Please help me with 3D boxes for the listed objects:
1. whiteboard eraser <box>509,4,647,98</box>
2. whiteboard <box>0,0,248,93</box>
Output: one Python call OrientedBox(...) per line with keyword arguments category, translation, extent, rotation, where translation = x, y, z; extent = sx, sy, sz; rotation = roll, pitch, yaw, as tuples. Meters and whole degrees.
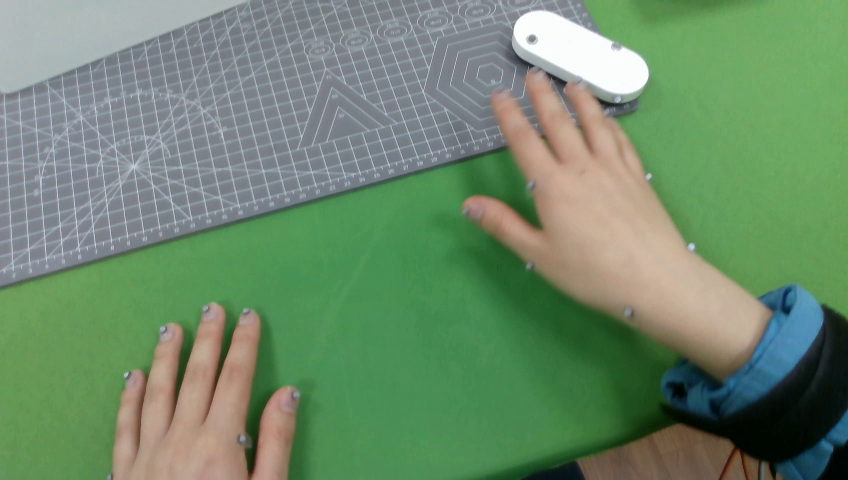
OrientedBox(category="whiteboard eraser", translation=(0.107, -0.134, 0.426), extent=(0.101, 0.019, 0.041), rotation=(32, 70, 14))
OrientedBox(category="whiteboard", translation=(-0.253, -0.291, 0.370), extent=(0.217, 0.308, 0.142), rotation=(-26, 49, -10))
